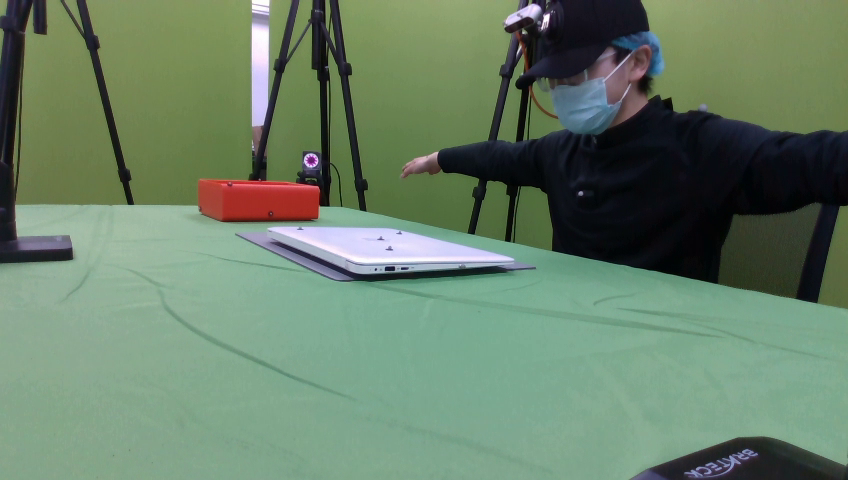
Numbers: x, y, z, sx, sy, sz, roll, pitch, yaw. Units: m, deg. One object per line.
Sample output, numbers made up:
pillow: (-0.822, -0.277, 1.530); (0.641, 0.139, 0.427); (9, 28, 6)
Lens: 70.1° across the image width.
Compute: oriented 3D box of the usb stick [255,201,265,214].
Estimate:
usb stick: (-0.368, -0.074, 1.360); (0.021, 0.027, 0.059); (1, 8, -16)

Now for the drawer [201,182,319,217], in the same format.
drawer: (-0.369, -0.092, 1.358); (0.213, 0.073, 0.193); (-3, 10, -34)

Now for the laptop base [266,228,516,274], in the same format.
laptop base: (-0.066, 0.014, 0.877); (0.237, 0.023, 0.352); (2, 6, -32)

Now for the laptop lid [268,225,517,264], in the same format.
laptop lid: (-0.063, 0.002, 0.877); (0.243, 0.013, 0.355); (1, 7, -30)

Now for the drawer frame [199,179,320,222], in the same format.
drawer frame: (-0.370, -0.093, 1.356); (0.215, 0.082, 0.200); (-4, 10, -34)
